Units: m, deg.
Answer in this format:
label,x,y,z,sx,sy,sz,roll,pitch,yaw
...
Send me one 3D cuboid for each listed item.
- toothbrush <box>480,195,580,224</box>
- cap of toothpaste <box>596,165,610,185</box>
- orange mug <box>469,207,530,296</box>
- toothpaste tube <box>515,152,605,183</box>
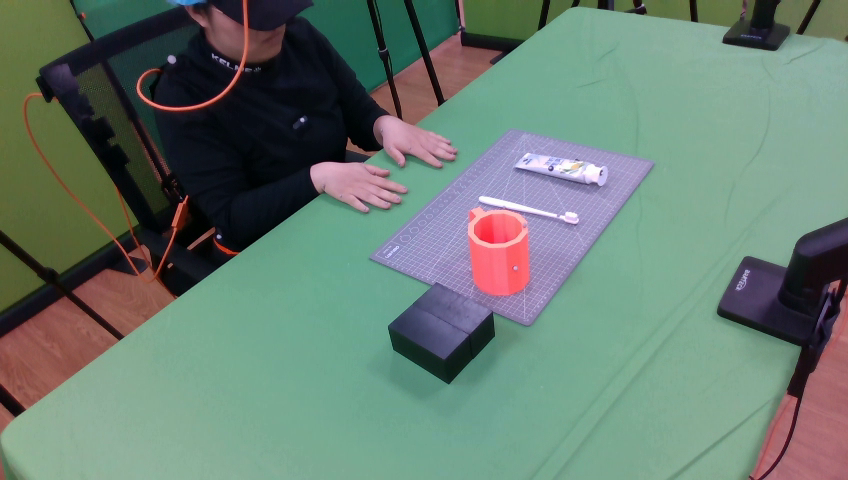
label,x,y,z,sx,sy,sz,roll,pitch,yaw
toothbrush,0.175,-0.054,1.016,0.180,0.017,0.014,15,59,29
cap of toothpaste,0.307,-0.113,1.042,0.011,0.037,0.037,20,49,39
orange mug,0.104,0.008,0.894,0.084,0.101,0.125,-22,46,-14
toothpaste tube,0.248,-0.133,1.087,0.164,0.034,0.055,18,43,34
